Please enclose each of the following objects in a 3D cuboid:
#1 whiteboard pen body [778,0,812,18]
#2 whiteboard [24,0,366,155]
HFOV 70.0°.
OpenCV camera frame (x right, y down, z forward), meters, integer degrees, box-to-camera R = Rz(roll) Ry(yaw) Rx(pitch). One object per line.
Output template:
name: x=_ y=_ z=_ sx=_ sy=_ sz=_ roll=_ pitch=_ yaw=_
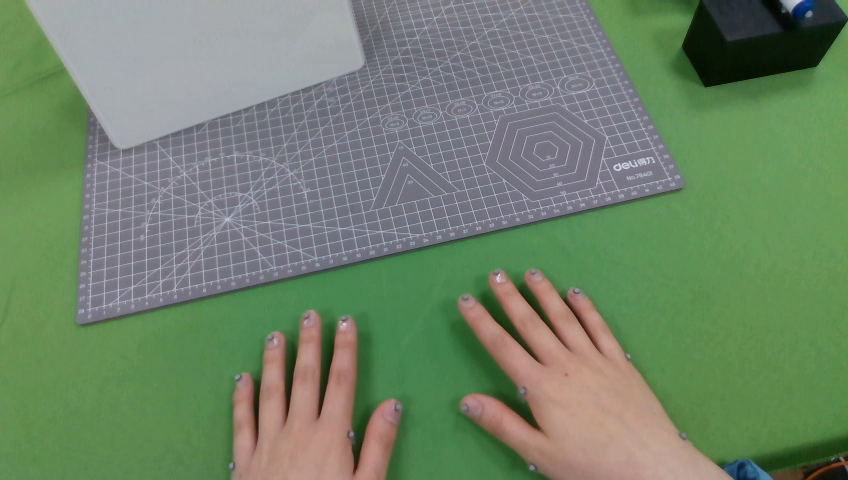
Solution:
whiteboard pen body: x=0.267 y=-0.229 z=0.489 sx=0.017 sy=0.017 sz=0.139 roll=-16 pitch=61 yaw=-6
whiteboard: x=-0.198 y=-0.259 z=0.452 sx=0.217 sy=0.308 sz=0.142 roll=-21 pitch=43 yaw=-8
